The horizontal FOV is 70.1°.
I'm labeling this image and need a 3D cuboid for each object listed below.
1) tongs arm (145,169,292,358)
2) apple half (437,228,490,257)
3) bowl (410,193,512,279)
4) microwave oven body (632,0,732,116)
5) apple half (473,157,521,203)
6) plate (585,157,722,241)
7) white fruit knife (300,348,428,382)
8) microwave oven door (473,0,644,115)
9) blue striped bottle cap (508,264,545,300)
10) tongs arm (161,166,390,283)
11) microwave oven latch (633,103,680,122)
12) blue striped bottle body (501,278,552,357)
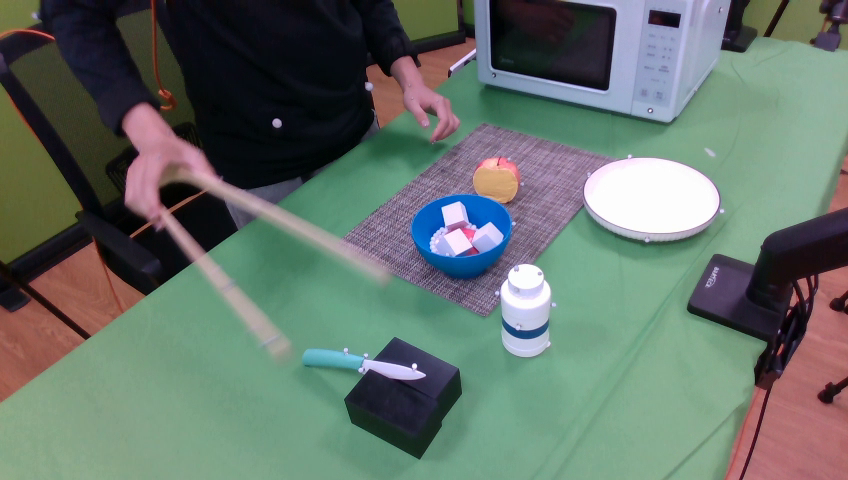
[{"bbox_3d":[-0.252,0.013,0.731,0.051,0.026,0.381,-35,52,-28],"label":"tongs arm"},{"bbox_3d":[0.055,0.002,0.901,0.081,0.033,0.081,-2,40,2],"label":"apple half"},{"bbox_3d":[0.058,0.005,0.905,0.151,0.077,0.150,-4,40,4],"label":"bowl"},{"bbox_3d":[0.377,-0.462,1.267,0.438,0.261,0.327,21,48,30],"label":"microwave oven body"},{"bbox_3d":[0.127,-0.106,1.030,0.080,0.075,0.053,4,36,19],"label":"apple half"},{"bbox_3d":[0.367,-0.063,0.979,0.207,0.039,0.206,-4,40,4],"label":"plate"},{"bbox_3d":[-0.080,0.154,0.748,0.206,0.027,0.016,1,20,35],"label":"white fruit knife"},{"bbox_3d":[0.257,-0.396,1.199,0.353,0.245,0.039,21,48,29],"label":"microwave oven door"},{"bbox_3d":[0.125,0.050,0.735,0.044,0.021,0.044,-5,39,5],"label":"blue striped bottle cap"},{"bbox_3d":[-0.199,-0.027,0.772,0.385,0.028,0.028,24,54,25],"label":"tongs arm"},{"bbox_3d":[0.444,-0.249,1.157,0.078,0.029,0.030,21,48,30],"label":"microwave oven latch"},{"bbox_3d":[0.129,0.089,0.769,0.063,0.121,0.063,-4,41,4],"label":"blue striped bottle body"}]
